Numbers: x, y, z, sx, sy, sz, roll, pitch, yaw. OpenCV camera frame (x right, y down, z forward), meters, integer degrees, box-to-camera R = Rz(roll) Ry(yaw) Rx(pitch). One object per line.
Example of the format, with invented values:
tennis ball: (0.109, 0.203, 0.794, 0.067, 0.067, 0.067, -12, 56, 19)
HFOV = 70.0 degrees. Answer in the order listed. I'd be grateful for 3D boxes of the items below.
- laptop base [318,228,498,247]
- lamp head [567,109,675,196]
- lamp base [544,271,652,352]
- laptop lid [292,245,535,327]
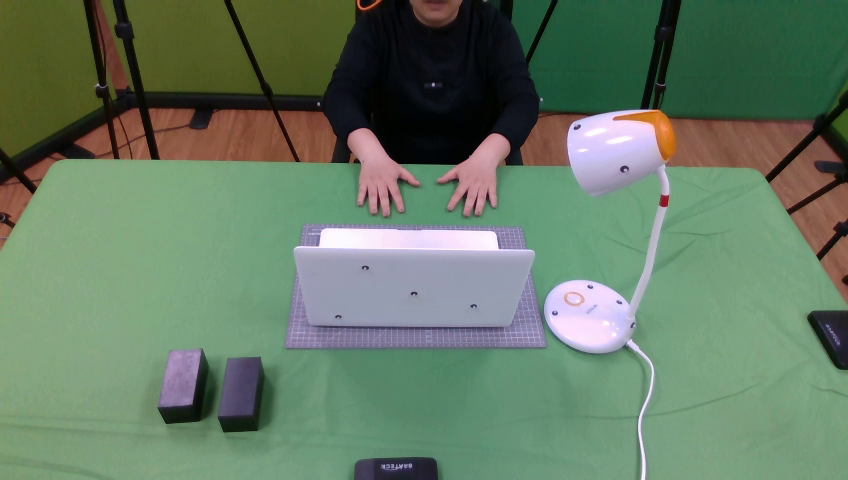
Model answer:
laptop base: (-0.028, 0.066, 1.134, 0.355, 0.023, 0.234, 1, 43, -4)
lamp head: (0.272, -0.123, 0.818, 0.122, 0.113, 0.112, -9, 35, 37)
lamp base: (0.310, 0.086, 1.029, 0.178, 0.181, 0.160, 32, 52, 21)
laptop lid: (-0.018, 0.080, 0.956, 0.357, 0.243, 0.013, 2, 54, -5)
